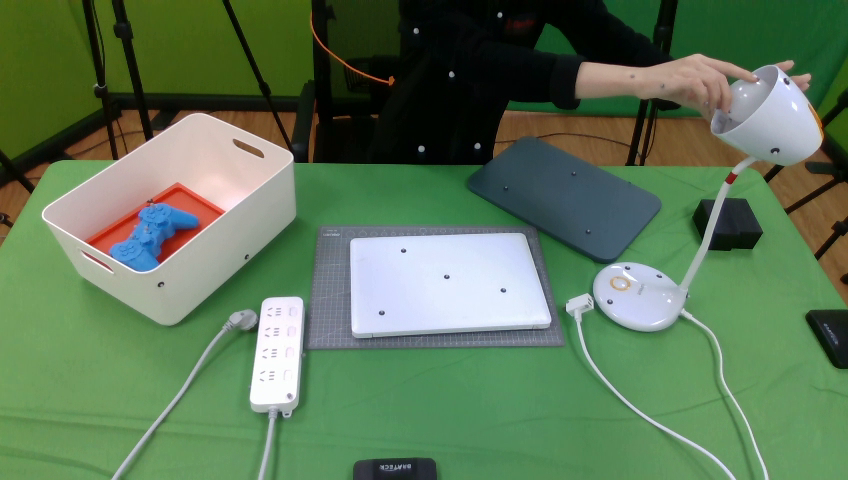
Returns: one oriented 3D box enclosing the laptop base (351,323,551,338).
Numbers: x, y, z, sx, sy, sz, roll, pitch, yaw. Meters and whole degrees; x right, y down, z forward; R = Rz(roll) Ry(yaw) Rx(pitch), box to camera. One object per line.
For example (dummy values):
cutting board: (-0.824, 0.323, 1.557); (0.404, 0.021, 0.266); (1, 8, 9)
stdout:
laptop base: (0.040, 0.080, 1.125); (0.355, 0.023, 0.234); (-2, 43, -6)

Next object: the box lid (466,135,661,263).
box lid: (0.306, -0.102, 1.327); (0.370, 0.015, 0.263); (32, 52, 25)

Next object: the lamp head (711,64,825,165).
lamp head: (0.466, -0.153, 0.811); (0.123, 0.112, 0.112); (36, 47, -13)

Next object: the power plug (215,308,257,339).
power plug: (-0.317, 0.143, 1.024); (0.072, 0.053, 0.035); (-32, 57, -8)

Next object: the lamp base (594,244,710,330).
lamp base: (0.412, 0.052, 1.070); (0.179, 0.181, 0.160); (18, 48, 9)

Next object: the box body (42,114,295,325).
box body: (-0.437, -0.046, 1.110); (0.253, 0.161, 0.363); (24, 49, 19)

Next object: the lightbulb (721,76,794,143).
lightbulb: (0.438, -0.167, 0.790); (0.059, 0.060, 0.107); (-24, 65, -25)

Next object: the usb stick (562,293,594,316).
usb stick: (0.275, 0.118, 1.087); (0.021, 0.059, 0.027); (39, 44, -28)

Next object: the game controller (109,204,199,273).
game controller: (-0.467, -0.005, 1.044); (0.097, 0.052, 0.154); (8, 45, 10)

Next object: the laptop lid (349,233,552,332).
laptop lid: (0.040, 0.070, 1.119); (0.357, 0.013, 0.240); (-1, 44, -5)

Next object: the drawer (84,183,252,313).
drawer: (-0.457, 0.008, 1.099); (0.194, 0.073, 0.211); (29, 49, 21)

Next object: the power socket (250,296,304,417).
power socket: (-0.239, 0.182, 0.996); (0.072, 0.033, 0.225); (-2, 47, -5)

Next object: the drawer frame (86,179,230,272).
drawer frame: (-0.453, 0.010, 1.100); (0.201, 0.083, 0.213); (28, 54, 23)
